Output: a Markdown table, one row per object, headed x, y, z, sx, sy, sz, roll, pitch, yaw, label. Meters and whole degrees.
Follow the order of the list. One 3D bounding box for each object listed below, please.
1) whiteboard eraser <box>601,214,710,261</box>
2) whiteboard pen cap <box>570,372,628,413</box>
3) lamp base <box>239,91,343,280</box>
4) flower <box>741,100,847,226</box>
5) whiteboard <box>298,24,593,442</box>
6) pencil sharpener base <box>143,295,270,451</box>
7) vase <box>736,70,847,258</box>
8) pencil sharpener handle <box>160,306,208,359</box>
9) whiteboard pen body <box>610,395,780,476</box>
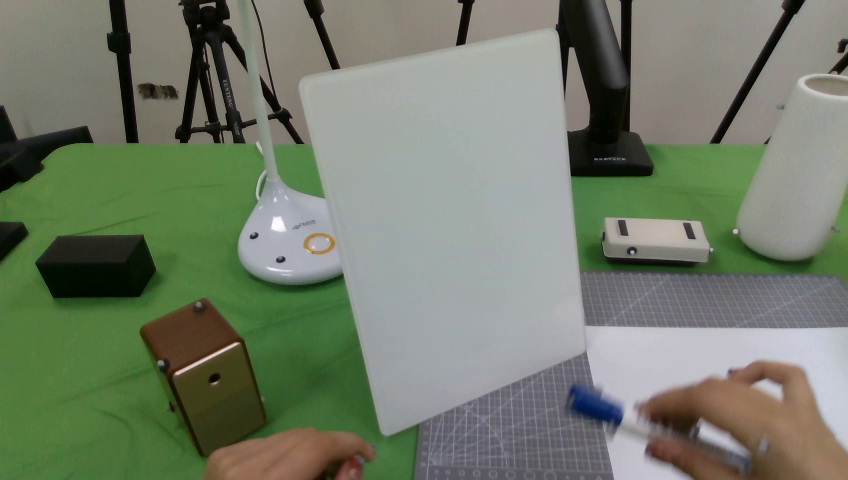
| x | y | z | sx | sy | sz | roll | pitch | yaw | label |
| --- | --- | --- | --- | --- | --- | --- | --- | --- | --- |
| 0.265 | -0.002 | 0.700 | 0.112 | 0.042 | 0.055 | 1 | 34 | 7 | whiteboard eraser |
| 0.106 | 0.093 | 0.366 | 0.033 | 0.018 | 0.018 | 24 | 36 | -9 | whiteboard pen cap |
| -0.154 | -0.071 | 0.698 | 0.160 | 0.182 | 0.177 | -31 | 43 | -33 | lamp base |
| 0.423 | -0.135 | 0.601 | 0.044 | 0.364 | 0.038 | -13 | 55 | -25 | flower |
| 0.013 | -0.017 | 0.559 | 0.218 | 0.307 | 0.142 | -18 | 20 | -18 | whiteboard |
| -0.183 | 0.111 | 0.514 | 0.061 | 0.108 | 0.076 | -28 | 43 | -29 | pencil sharpener base |
| 0.417 | -0.078 | 0.663 | 0.098 | 0.202 | 0.097 | -1 | 37 | 1 | vase |
| -0.214 | 0.078 | 0.539 | 0.036 | 0.068 | 0.030 | -34 | 46 | -23 | pencil sharpener handle |
| 0.160 | 0.118 | 0.376 | 0.141 | 0.017 | 0.017 | 23 | 36 | -9 | whiteboard pen body |
